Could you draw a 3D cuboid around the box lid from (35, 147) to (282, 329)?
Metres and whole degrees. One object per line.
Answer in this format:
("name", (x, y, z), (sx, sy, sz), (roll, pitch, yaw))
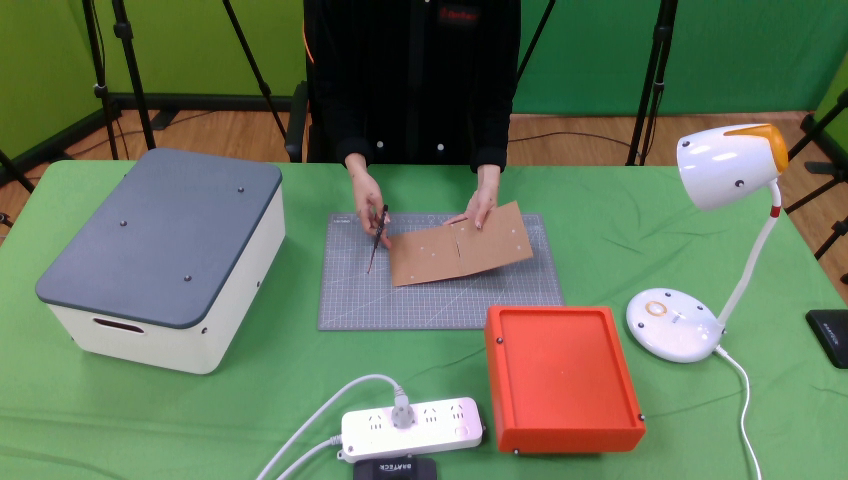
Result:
("box lid", (-0.411, -0.023, 0.987), (0.263, 0.015, 0.369), (10, 47, 5))

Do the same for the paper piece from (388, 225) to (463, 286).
("paper piece", (0.000, 0.027, 1.163), (0.135, 0.004, 0.135), (-8, 48, 1))

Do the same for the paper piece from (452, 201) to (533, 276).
("paper piece", (0.127, -0.004, 1.153), (0.136, 0.009, 0.137), (-16, 50, 9))

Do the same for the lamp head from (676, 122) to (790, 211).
("lamp head", (0.423, -0.104, 0.819), (0.122, 0.113, 0.112), (-13, 33, 40))

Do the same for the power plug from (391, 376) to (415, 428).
("power plug", (-0.030, 0.249, 0.917), (0.035, 0.053, 0.072), (3, 46, 0))

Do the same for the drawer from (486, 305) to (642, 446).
("drawer", (0.202, 0.200, 0.919), (0.195, 0.073, 0.210), (2, 47, -4))

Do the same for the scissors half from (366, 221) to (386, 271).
("scissors half", (-0.092, 0.009, 1.133), (0.013, 0.040, 0.174), (17, 31, -3))

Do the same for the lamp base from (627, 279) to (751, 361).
("lamp base", (0.460, 0.100, 1.027), (0.178, 0.181, 0.160), (27, 51, 17))

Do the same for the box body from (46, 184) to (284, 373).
("box body", (-0.415, 0.029, 1.040), (0.254, 0.161, 0.362), (10, 46, 5))

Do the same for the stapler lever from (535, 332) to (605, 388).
("stapler lever", (0.225, 0.181, 0.929), (0.118, 0.040, 0.027), (27, 34, 15))

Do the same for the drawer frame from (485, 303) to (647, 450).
("drawer frame", (0.204, 0.202, 0.917), (0.202, 0.083, 0.212), (1, 47, -4))

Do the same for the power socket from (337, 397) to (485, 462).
("power socket", (-0.018, 0.285, 0.915), (0.227, 0.033, 0.071), (-4, 46, -8))

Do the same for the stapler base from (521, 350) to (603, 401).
("stapler base", (0.217, 0.203, 0.942), (0.130, 0.024, 0.041), (26, 34, 16))

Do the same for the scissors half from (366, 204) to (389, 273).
("scissors half", (-0.087, -0.006, 1.120), (0.013, 0.040, 0.174), (13, 49, 0))
